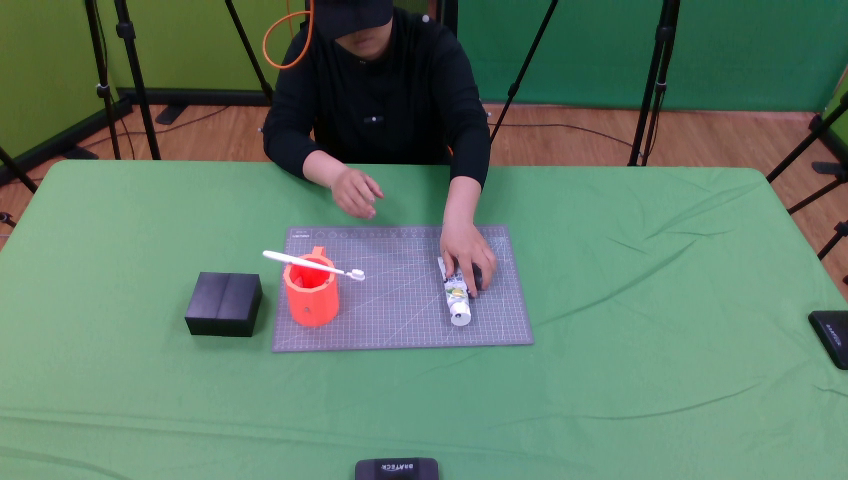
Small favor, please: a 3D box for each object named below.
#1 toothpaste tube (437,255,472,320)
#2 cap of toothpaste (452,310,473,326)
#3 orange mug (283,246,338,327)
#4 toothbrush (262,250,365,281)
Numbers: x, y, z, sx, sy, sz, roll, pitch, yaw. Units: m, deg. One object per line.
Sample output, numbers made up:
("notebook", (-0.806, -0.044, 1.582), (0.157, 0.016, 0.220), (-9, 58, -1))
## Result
("toothpaste tube", (0.062, 0.084, 1.113), (0.055, 0.035, 0.164), (1, 41, -9))
("cap of toothpaste", (0.067, 0.134, 1.055), (0.037, 0.037, 0.011), (0, 40, -4))
("orange mug", (-0.193, 0.074, 1.056), (0.083, 0.101, 0.125), (5, 50, 1))
("toothbrush", (-0.187, 0.040, 1.015), (0.182, 0.017, 0.014), (13, 54, 8))
